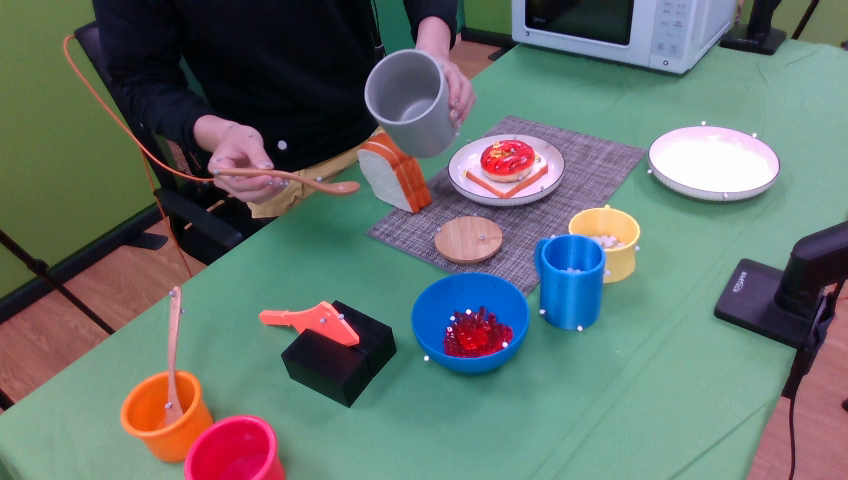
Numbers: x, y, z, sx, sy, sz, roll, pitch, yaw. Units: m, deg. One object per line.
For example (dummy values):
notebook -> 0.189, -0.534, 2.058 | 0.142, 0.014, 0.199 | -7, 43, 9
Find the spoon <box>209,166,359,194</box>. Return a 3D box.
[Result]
spoon -> -0.165, -0.076, 0.738 | 0.195, 0.021, 0.041 | 7, 17, -39

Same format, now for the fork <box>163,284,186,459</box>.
fork -> -0.302, 0.157, 0.733 | 0.028, 0.019, 0.207 | -3, 84, 15

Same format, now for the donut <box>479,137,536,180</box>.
donut -> 0.145, -0.144, 1.056 | 0.099, 0.048, 0.098 | -6, 42, 6

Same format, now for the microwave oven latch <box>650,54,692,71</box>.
microwave oven latch -> 0.530, -0.386, 1.300 | 0.078, 0.029, 0.030 | 23, 49, 31

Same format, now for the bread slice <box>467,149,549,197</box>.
bread slice -> 0.156, -0.128, 1.085 | 0.132, 0.019, 0.104 | -34, 48, -23

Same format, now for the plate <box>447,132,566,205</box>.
plate -> 0.146, -0.124, 1.076 | 0.209, 0.038, 0.208 | -4, 41, 4

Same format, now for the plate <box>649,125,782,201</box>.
plate -> 0.493, -0.127, 1.036 | 0.207, 0.039, 0.206 | -4, 41, 4

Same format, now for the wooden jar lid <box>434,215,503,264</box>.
wooden jar lid -> 0.070, 0.001, 0.956 | 0.108, 0.021, 0.108 | -4, 40, 4

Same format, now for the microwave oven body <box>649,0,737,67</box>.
microwave oven body -> 0.475, -0.602, 1.411 | 0.438, 0.261, 0.327 | 23, 50, 32

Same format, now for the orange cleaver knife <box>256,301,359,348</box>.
orange cleaver knife -> -0.160, 0.115, 0.813 | 0.210, 0.077, 0.012 | -9, 29, 48

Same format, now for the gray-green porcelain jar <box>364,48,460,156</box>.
gray-green porcelain jar -> -0.010, -0.178, 0.815 | 0.105, 0.127, 0.105 | -4, 75, 13

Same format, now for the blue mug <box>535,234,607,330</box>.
blue mug -> 0.190, 0.048, 0.824 | 0.082, 0.106, 0.115 | -26, 44, -20

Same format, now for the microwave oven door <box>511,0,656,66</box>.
microwave oven door -> 0.351, -0.539, 1.348 | 0.353, 0.245, 0.039 | 24, 50, 31

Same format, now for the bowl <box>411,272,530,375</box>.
bowl -> 0.061, 0.120, 0.780 | 0.151, 0.077, 0.150 | -4, 40, 4

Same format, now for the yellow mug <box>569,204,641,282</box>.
yellow mug -> 0.268, -0.005, 0.904 | 0.099, 0.064, 0.130 | 7, 41, 15

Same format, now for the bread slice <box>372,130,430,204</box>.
bread slice -> -0.043, -0.126, 1.038 | 0.106, 0.135, 0.018 | 30, 61, 33
